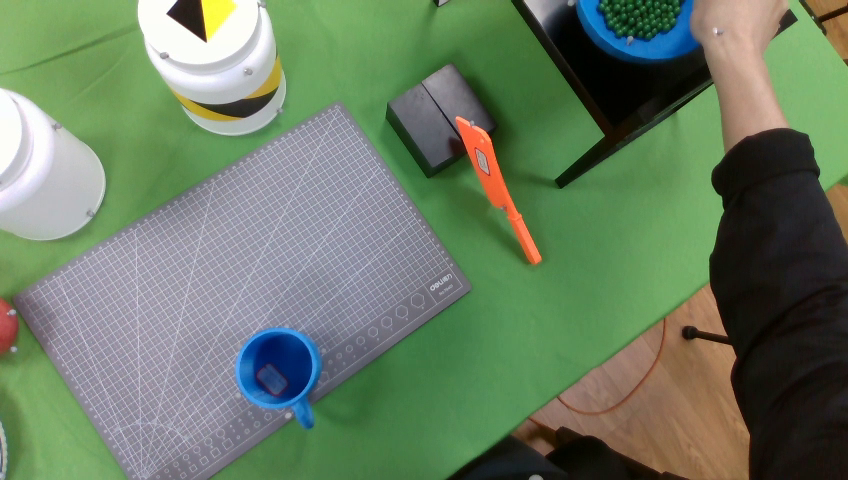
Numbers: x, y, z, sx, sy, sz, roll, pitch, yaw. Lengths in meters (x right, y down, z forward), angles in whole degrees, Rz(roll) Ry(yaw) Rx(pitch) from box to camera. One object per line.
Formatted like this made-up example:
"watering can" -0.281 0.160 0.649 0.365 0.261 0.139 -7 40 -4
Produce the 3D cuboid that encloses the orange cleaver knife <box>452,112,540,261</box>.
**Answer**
"orange cleaver knife" 0.089 -0.063 0.750 0.012 0.076 0.213 -35 118 -12

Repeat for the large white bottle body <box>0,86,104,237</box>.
"large white bottle body" -0.437 -0.081 0.634 0.131 0.185 0.130 1 80 -7

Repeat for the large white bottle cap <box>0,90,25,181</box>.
"large white bottle cap" -0.428 -0.096 0.550 0.115 0.018 0.114 1 81 -7

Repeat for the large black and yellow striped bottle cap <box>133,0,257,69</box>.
"large black and yellow striped bottle cap" -0.226 -0.226 0.600 0.115 0.019 0.114 1 81 -9

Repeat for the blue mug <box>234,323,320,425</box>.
"blue mug" -0.152 0.151 0.672 0.082 0.106 0.116 -26 85 -11

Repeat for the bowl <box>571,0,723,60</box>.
"bowl" 0.213 -0.248 0.613 0.151 0.077 0.151 0 89 -2

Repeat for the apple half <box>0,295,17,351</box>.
"apple half" -0.479 0.100 0.656 0.053 0.074 0.080 42 75 -3

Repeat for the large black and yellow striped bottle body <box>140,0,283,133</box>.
"large black and yellow striped bottle body" -0.234 -0.210 0.682 0.131 0.184 0.130 1 80 -7

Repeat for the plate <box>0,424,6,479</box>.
"plate" -0.553 0.235 0.642 0.209 0.038 0.208 1 81 -7
